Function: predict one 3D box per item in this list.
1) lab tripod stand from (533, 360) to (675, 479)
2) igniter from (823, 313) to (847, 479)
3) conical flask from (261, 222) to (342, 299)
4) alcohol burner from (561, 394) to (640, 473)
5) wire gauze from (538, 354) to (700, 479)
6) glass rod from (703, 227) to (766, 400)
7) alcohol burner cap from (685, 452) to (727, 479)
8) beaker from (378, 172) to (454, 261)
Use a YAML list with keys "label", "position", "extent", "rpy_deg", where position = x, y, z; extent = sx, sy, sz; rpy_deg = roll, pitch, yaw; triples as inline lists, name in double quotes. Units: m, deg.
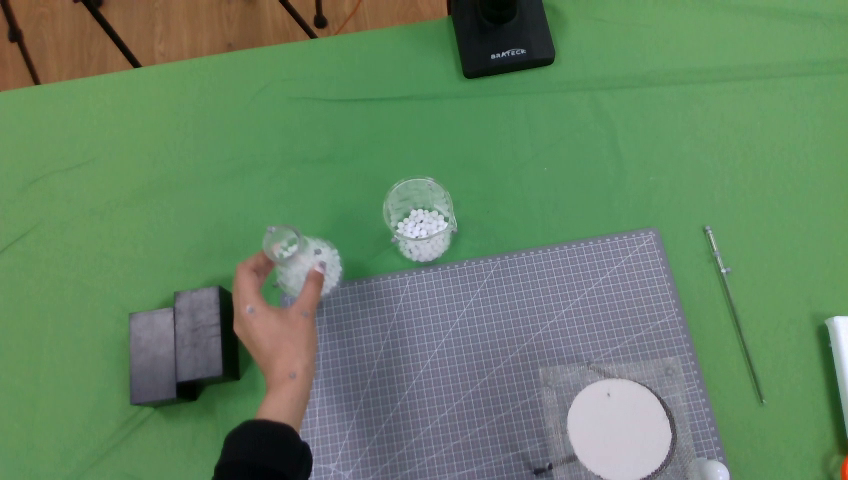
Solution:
- label: "lab tripod stand"
  position: [0.173, 0.184, 0.583]
  extent: [0.148, 0.132, 0.147]
  rpy_deg: [-1, 74, 4]
- label: "igniter"
  position: [0.447, 0.211, 0.617]
  extent: [0.057, 0.025, 0.275]
  rpy_deg: [4, 72, -6]
- label: "conical flask"
  position: [-0.130, 0.015, 0.621]
  extent: [0.075, 0.122, 0.075]
  rpy_deg: [-1, 76, 2]
- label: "alcohol burner"
  position: [0.175, 0.188, 0.592]
  extent: [0.078, 0.120, 0.077]
  rpy_deg: [-2, 72, 5]
- label: "wire gauze"
  position: [0.167, 0.163, 0.519]
  extent: [0.125, 0.011, 0.120]
  rpy_deg: [-5, 74, 3]
- label: "glass rod"
  position: [0.345, 0.077, 0.675]
  extent: [0.008, 0.008, 0.198]
  rpy_deg: [-10, 72, 0]
- label: "alcohol burner cap"
  position: [0.287, 0.231, 0.609]
  extent: [0.034, 0.048, 0.033]
  rpy_deg: [-1, 72, 4]
- label: "beaker"
  position: [-0.004, -0.020, 0.679]
  extent: [0.083, 0.101, 0.074]
  rpy_deg: [25, 76, 10]
